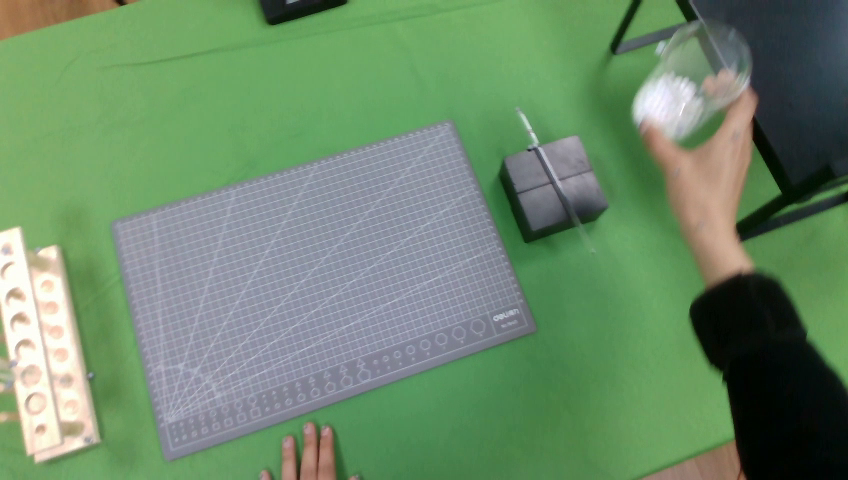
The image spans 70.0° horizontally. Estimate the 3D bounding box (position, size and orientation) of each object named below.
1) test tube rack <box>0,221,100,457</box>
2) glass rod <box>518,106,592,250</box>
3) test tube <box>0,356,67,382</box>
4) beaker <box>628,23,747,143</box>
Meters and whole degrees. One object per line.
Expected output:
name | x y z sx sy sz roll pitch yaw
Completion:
test tube rack | -0.433 0.110 0.665 0.067 0.085 0.241 -18 76 -7
glass rod | 0.156 -0.077 0.730 0.008 0.008 0.198 -21 76 -8
test tube | -0.397 0.131 0.609 0.017 0.151 0.017 2 73 -7
beaker | 0.235 -0.135 0.559 0.074 0.100 0.084 22 80 5
